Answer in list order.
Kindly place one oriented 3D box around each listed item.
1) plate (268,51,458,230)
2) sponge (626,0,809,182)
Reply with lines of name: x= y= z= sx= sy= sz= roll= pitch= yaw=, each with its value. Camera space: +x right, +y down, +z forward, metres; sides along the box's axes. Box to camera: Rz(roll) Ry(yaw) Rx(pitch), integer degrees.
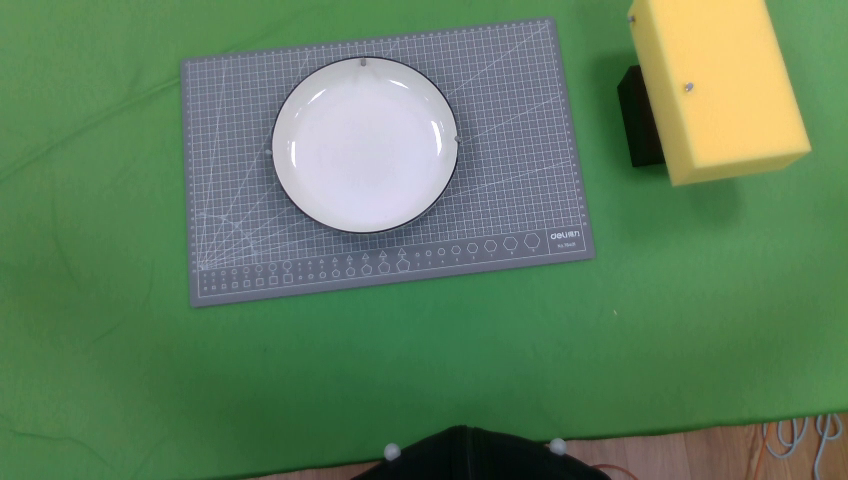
plate: x=-0.066 y=-0.109 z=0.681 sx=0.209 sy=0.038 sz=0.208 roll=0 pitch=78 yaw=0
sponge: x=0.299 y=-0.173 z=0.631 sx=0.118 sy=0.061 sz=0.206 roll=-10 pitch=78 yaw=-2
